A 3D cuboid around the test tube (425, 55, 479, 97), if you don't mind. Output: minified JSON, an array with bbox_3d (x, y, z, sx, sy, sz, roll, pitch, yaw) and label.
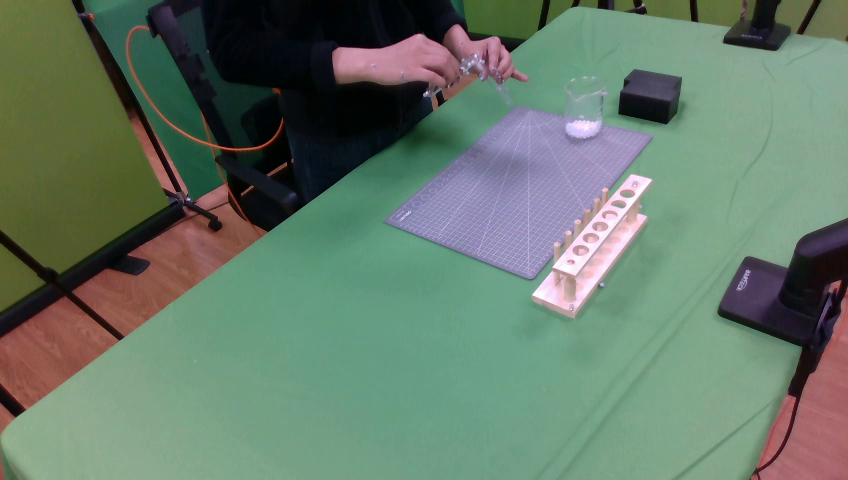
[{"bbox_3d":[0.046,-0.267,0.979,0.017,0.017,0.150,18,44,29],"label":"test tube"}]

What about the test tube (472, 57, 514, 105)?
[{"bbox_3d":[0.126,-0.283,1.085,0.017,0.152,0.017,-12,66,29],"label":"test tube"}]

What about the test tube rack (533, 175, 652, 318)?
[{"bbox_3d":[0.251,-0.001,0.889,0.066,0.085,0.243,22,49,33],"label":"test tube rack"}]

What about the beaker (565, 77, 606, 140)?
[{"bbox_3d":[0.304,-0.247,1.153,0.073,0.101,0.084,15,47,27],"label":"beaker"}]
